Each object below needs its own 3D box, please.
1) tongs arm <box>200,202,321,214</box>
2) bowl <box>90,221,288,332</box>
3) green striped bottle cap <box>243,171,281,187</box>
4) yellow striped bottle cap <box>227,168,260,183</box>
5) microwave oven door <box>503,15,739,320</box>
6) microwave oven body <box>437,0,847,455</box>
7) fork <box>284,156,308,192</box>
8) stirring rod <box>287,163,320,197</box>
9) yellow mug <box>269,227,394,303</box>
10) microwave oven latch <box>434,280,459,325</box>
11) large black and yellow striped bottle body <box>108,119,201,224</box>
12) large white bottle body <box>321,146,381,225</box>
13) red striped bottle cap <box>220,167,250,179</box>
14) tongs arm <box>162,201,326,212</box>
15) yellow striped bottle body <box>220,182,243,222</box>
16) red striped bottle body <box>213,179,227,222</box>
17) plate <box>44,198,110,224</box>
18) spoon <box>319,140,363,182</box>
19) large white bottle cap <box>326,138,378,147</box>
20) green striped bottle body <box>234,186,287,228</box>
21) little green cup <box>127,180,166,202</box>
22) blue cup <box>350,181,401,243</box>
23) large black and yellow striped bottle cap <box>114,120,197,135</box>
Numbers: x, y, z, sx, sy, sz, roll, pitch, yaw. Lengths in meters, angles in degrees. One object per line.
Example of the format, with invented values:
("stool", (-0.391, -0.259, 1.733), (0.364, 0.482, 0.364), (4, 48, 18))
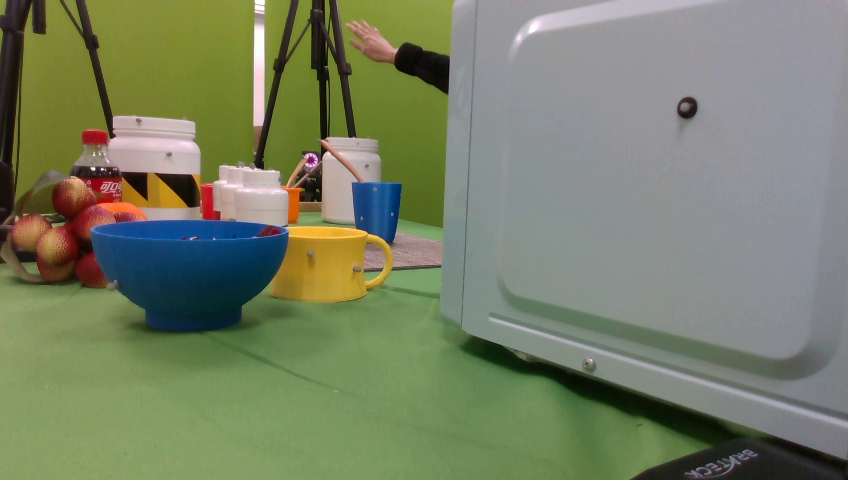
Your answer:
("tongs arm", (-0.380, -0.076, 1.420), (0.387, 0.026, 0.050), (-4, 5, -42))
("bowl", (-0.190, 0.029, 0.500), (0.151, 0.077, 0.151), (3, 7, 0))
("green striped bottle cap", (-0.198, -0.074, 0.736), (0.044, 0.020, 0.044), (1, 7, 0))
("yellow striped bottle cap", (-0.243, -0.087, 0.818), (0.044, 0.018, 0.044), (3, 6, 0))
("microwave oven door", (0.218, -0.065, 0.601), (0.358, 0.243, 0.039), (-4, 10, -41))
("microwave oven body", (0.280, -0.040, 0.465), (0.444, 0.260, 0.324), (-3, 9, -41))
("fork", (-0.295, -0.116, 1.323), (0.028, 0.019, 0.207), (1, 50, 21))
("stirring rod", (-0.283, -0.107, 1.298), (0.014, 0.006, 0.176), (10, 52, 51))
("yellow mug", (-0.094, 0.023, 0.629), (0.131, 0.064, 0.099), (0, 7, -22))
("microwave oven latch", (0.044, 0.045, 0.470), (0.079, 0.029, 0.030), (-2, 8, -39))
("large black and yellow striped bottle body", (-0.412, -0.088, 0.930), (0.131, 0.184, 0.130), (3, 7, 0))
("large white bottle body", (-0.162, -0.131, 1.340), (0.131, 0.184, 0.130), (2, 8, 0))
("red striped bottle cap", (-0.281, -0.100, 0.901), (0.044, 0.017, 0.044), (-1, 4, 0))
("tongs arm", (-0.433, -0.083, 1.490), (0.389, 0.027, 0.028), (-1, 0, -27))
("yellow striped bottle body", (-0.246, -0.036, 0.825), (0.063, 0.120, 0.063), (3, 8, 0))
("red striped bottle body", (-0.284, -0.048, 0.910), (0.063, 0.119, 0.063), (3, 12, 0))
("plate", (-0.617, -0.056, 1.179), (0.209, 0.038, 0.209), (3, 7, 0))
("spoon", (-0.116, -0.106, 1.028), (0.193, 0.021, 0.042), (51, 28, 14))
("large white bottle cap", (-0.158, -0.214, 1.329), (0.115, 0.018, 0.115), (2, 8, 0))
("green striped bottle body", (-0.201, -0.023, 0.743), (0.063, 0.119, 0.063), (2, 7, 0))
("little green cup", (-0.485, -0.086, 1.061), (0.061, 0.038, 0.061), (1, 7, 0))
("blue cup", (-0.080, -0.047, 1.011), (0.093, 0.100, 0.092), (0, 6, 0))
("large black and yellow striped bottle cap", (-0.407, -0.171, 0.920), (0.115, 0.019, 0.115), (2, 9, 0))
